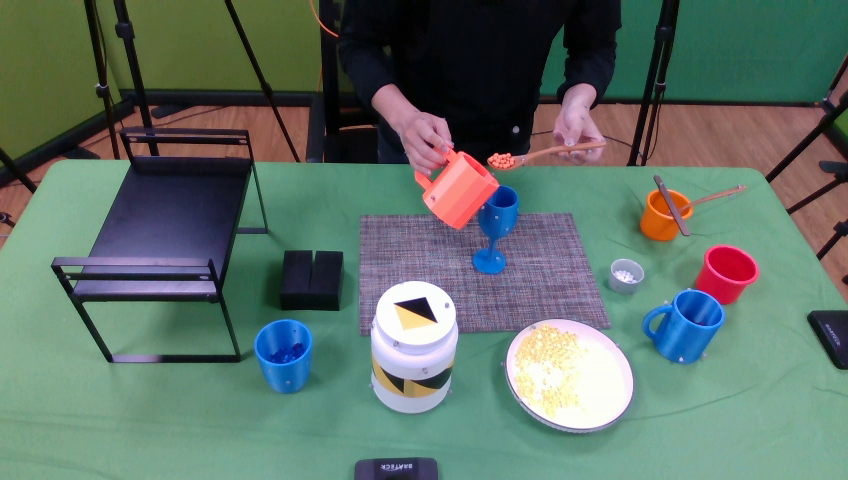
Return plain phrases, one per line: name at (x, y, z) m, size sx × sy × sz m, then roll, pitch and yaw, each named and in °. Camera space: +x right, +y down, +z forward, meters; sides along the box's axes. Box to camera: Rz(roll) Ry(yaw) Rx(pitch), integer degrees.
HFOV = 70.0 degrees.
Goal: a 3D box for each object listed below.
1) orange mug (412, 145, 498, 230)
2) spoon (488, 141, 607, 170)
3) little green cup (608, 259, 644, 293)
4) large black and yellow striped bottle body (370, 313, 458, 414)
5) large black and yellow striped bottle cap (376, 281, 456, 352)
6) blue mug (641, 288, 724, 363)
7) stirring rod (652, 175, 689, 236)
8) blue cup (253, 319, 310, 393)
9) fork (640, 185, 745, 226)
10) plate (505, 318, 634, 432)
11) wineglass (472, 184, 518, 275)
orange mug at (0.045, -0.093, 0.986) m, size 0.126 × 0.101 × 0.083 m, roll 48°, pitch 19°, yaw 5°
spoon at (0.199, -0.140, 0.977) m, size 0.194 × 0.022 × 0.041 m, roll -12°, pitch 33°, yaw 5°
little green cup at (0.379, 0.070, 1.147) m, size 0.061 × 0.039 × 0.061 m, roll 3°, pitch 45°, yaw -2°
large black and yellow striped bottle body at (-0.017, 0.165, 0.924) m, size 0.131 × 0.185 × 0.130 m, roll 2°, pitch 46°, yaw -2°
large black and yellow striped bottle cap at (-0.011, 0.107, 0.863) m, size 0.115 × 0.019 × 0.114 m, roll 2°, pitch 47°, yaw -2°
blue mug at (0.432, 0.144, 1.033) m, size 0.116 × 0.106 × 0.082 m, roll 9°, pitch 46°, yaw 5°
stirring rod at (0.491, -0.072, 1.211) m, size 0.014 × 0.006 × 0.175 m, roll 0°, pitch 47°, yaw -6°
blue cup at (-0.217, 0.187, 0.943) m, size 0.093 × 0.101 × 0.092 m, roll 4°, pitch 45°, yaw -3°
fork at (0.534, -0.069, 1.215) m, size 0.207 × 0.019 × 0.028 m, roll -26°, pitch 27°, yaw 33°
plate at (0.235, 0.221, 0.991) m, size 0.209 × 0.038 × 0.208 m, roll 2°, pitch 46°, yaw -2°
wineglass at (0.129, -0.018, 1.113) m, size 0.074 × 0.173 × 0.073 m, roll 2°, pitch 46°, yaw -2°
